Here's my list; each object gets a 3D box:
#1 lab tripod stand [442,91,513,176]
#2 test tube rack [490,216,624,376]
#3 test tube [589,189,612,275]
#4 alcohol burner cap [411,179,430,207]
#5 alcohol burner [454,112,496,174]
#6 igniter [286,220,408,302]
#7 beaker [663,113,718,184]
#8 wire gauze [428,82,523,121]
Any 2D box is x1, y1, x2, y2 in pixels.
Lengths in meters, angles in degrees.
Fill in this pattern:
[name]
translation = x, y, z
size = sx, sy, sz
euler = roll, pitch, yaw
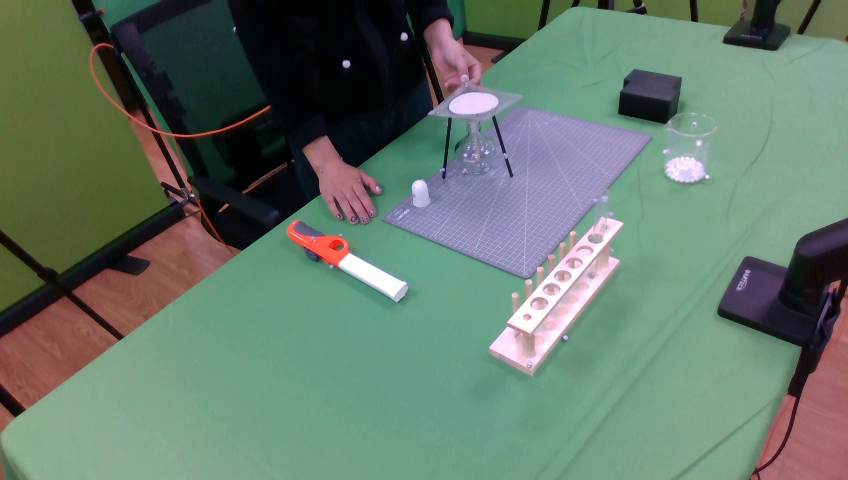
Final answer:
[lab tripod stand]
translation = 0.096, -0.190, 1.096
size = 0.148, 0.132, 0.147
euler = -4, 40, 4
[test tube rack]
translation = 0.184, 0.064, 0.822
size = 0.066, 0.085, 0.243
euler = 24, 50, 33
[test tube]
translation = 0.238, -0.007, 0.818
size = 0.017, 0.151, 0.017
euler = -3, 43, 4
[alcohol burner cap]
translation = -0.008, -0.085, 1.063
size = 0.034, 0.048, 0.033
euler = -4, 40, 4
[alcohol burner]
translation = 0.092, -0.181, 1.102
size = 0.078, 0.119, 0.077
euler = -5, 42, 5
[igniter]
translation = -0.134, 0.028, 0.969
size = 0.274, 0.025, 0.057
euler = 26, 61, 35
[beaker]
translation = 0.442, -0.151, 1.018
size = 0.084, 0.101, 0.074
euler = -1, 40, 11
[wire gauze]
translation = 0.089, -0.239, 1.050
size = 0.120, 0.011, 0.125
euler = 20, 45, 31
